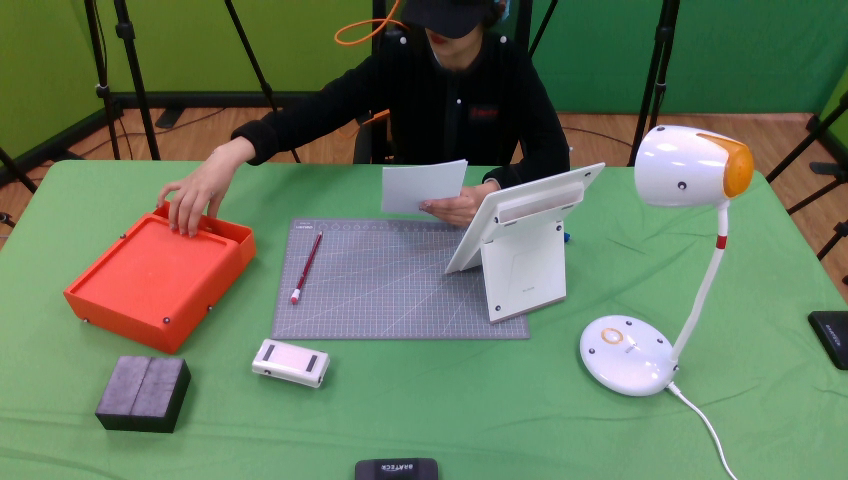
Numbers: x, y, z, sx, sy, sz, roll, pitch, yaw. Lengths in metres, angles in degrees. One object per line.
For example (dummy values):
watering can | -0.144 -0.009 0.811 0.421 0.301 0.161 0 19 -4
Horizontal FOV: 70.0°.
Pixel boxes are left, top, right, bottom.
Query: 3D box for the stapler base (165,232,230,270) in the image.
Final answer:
stapler base | -0.425 0.015 1.134 0.130 0.024 0.041 22 45 17

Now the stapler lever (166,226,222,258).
stapler lever | -0.425 -0.001 1.118 0.118 0.040 0.027 23 46 15

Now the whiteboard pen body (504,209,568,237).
whiteboard pen body | 0.230 -0.034 1.248 0.140 0.017 0.017 23 49 16

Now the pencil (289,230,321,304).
pencil | -0.221 0.045 1.141 0.012 0.012 0.193 8 44 4

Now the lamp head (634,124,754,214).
lamp head | 0.351 -0.089 0.776 0.112 0.113 0.122 -30 30 -28

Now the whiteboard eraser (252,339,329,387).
whiteboard eraser | -0.215 0.199 0.976 0.112 0.042 0.055 12 45 7

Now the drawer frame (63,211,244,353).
drawer frame | -0.459 0.066 1.055 0.201 0.083 0.212 17 47 11

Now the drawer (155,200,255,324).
drawer | -0.444 0.040 1.086 0.194 0.073 0.211 18 48 12

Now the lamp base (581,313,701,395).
lamp base | 0.361 0.144 0.973 0.178 0.181 0.160 34 53 23

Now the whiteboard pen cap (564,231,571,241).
whiteboard pen cap | 0.281 -0.012 1.230 0.033 0.018 0.018 25 50 16

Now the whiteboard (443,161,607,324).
whiteboard | 0.185 0.026 1.028 0.217 0.306 0.143 -15 68 -18
